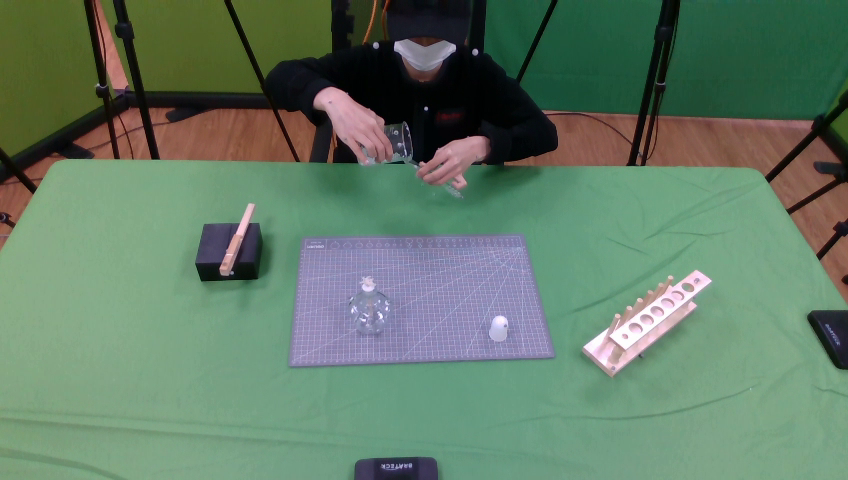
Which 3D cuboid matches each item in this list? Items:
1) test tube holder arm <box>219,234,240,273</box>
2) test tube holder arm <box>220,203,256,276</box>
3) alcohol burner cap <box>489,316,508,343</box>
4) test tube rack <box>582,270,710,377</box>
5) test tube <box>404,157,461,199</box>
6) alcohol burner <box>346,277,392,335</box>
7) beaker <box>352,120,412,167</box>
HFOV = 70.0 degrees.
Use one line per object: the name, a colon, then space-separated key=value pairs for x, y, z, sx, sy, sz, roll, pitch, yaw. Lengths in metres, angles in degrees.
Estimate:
test tube holder arm: x=-0.344 y=0.023 z=1.076 sx=0.015 sy=0.010 sz=0.087 roll=5 pitch=45 yaw=2
test tube holder arm: x=-0.340 y=-0.005 z=1.112 sx=0.015 sy=0.013 sz=0.177 roll=5 pitch=46 yaw=2
alcohol burner cap: x=0.130 y=0.151 z=1.045 sx=0.034 sy=0.048 sz=0.033 roll=2 pitch=46 yaw=-2
test tube rack: x=0.389 y=0.132 z=1.057 sx=0.242 sy=0.085 sz=0.066 roll=-28 pitch=54 yaw=-28
test tube: x=0.019 y=-0.123 z=1.211 sx=0.151 sy=0.017 sz=0.017 roll=31 pitch=35 yaw=-32
alcohol burner: x=-0.093 y=0.106 z=1.021 sx=0.078 sy=0.120 sz=0.077 roll=1 pitch=46 yaw=-1
beaker: x=-0.080 y=-0.177 z=1.141 sx=0.100 sy=0.084 sz=0.073 roll=-10 pitch=36 yaw=-10
